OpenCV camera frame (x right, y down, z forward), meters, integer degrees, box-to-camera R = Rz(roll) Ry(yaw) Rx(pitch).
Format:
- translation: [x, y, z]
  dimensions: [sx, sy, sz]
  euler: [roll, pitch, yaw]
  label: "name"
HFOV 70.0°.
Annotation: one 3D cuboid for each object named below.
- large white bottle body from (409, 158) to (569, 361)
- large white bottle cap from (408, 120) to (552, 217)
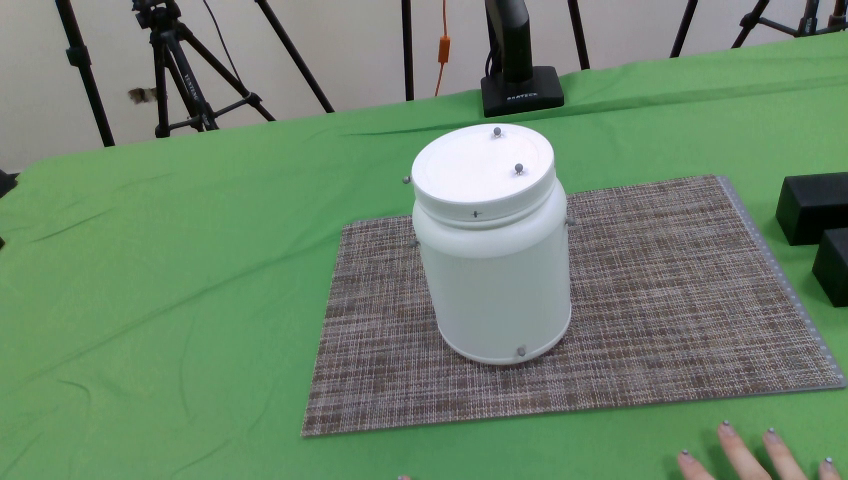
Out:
- translation: [0.060, 0.003, 0.539]
  dimensions: [0.130, 0.186, 0.129]
  euler: [-8, 40, 7]
  label: "large white bottle body"
- translation: [0.044, -0.060, 0.483]
  dimensions: [0.115, 0.018, 0.113]
  euler: [-8, 40, 7]
  label: "large white bottle cap"
